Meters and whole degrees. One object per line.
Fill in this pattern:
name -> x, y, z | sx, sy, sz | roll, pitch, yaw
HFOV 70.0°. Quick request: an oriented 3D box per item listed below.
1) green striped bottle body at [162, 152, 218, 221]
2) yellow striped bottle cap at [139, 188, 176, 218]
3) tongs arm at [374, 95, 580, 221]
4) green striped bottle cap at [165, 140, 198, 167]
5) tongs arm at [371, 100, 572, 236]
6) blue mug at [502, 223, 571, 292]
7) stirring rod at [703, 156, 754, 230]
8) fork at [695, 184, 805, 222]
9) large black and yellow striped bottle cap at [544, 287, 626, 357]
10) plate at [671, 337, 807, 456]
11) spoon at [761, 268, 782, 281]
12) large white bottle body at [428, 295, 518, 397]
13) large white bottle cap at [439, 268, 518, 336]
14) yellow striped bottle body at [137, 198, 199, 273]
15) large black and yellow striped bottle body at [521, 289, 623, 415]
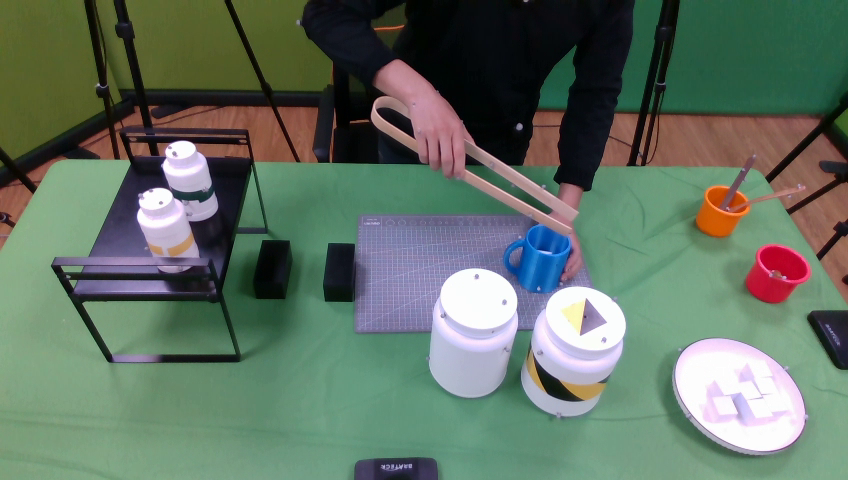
green striped bottle body -> -0.363, -0.092, 0.939 | 0.063, 0.120, 0.063 | 2, 46, -2
yellow striped bottle cap -> -0.363, -0.051, 0.826 | 0.044, 0.019, 0.044 | 1, 47, -1
tongs arm -> 0.084, -0.133, 1.006 | 0.384, 0.026, 0.050 | 35, 56, 5
green striped bottle cap -> -0.361, -0.128, 0.902 | 0.044, 0.020, 0.044 | 3, 47, -4
tongs arm -> 0.072, -0.115, 0.991 | 0.387, 0.028, 0.028 | 32, 59, 4
blue mug -> 0.203, 0.032, 1.121 | 0.116, 0.106, 0.082 | 4, 47, 0
stirring rod -> 0.631, -0.098, 1.258 | 0.014, 0.006, 0.176 | 33, 95, 29
fork -> 0.657, -0.075, 1.230 | 0.207, 0.019, 0.028 | -23, 34, 37
large black and yellow striped bottle cap -> 0.232, 0.116, 0.876 | 0.115, 0.019, 0.114 | 2, 46, -1
plate -> 0.504, 0.254, 0.984 | 0.208, 0.039, 0.206 | 2, 46, -2
spoon -> 0.638, 0.060, 1.105 | 0.041, 0.021, 0.194 | 38, 11, 24
large white bottle body -> 0.075, 0.147, 0.950 | 0.131, 0.185, 0.130 | 2, 47, -2
large white bottle cap -> 0.080, 0.089, 0.888 | 0.115, 0.018, 0.114 | 2, 47, -2
yellow striped bottle body -> -0.366, -0.014, 0.864 | 0.063, 0.121, 0.062 | 2, 46, -2
large black and yellow striped bottle body -> 0.228, 0.173, 0.937 | 0.131, 0.185, 0.130 | 2, 47, -2
